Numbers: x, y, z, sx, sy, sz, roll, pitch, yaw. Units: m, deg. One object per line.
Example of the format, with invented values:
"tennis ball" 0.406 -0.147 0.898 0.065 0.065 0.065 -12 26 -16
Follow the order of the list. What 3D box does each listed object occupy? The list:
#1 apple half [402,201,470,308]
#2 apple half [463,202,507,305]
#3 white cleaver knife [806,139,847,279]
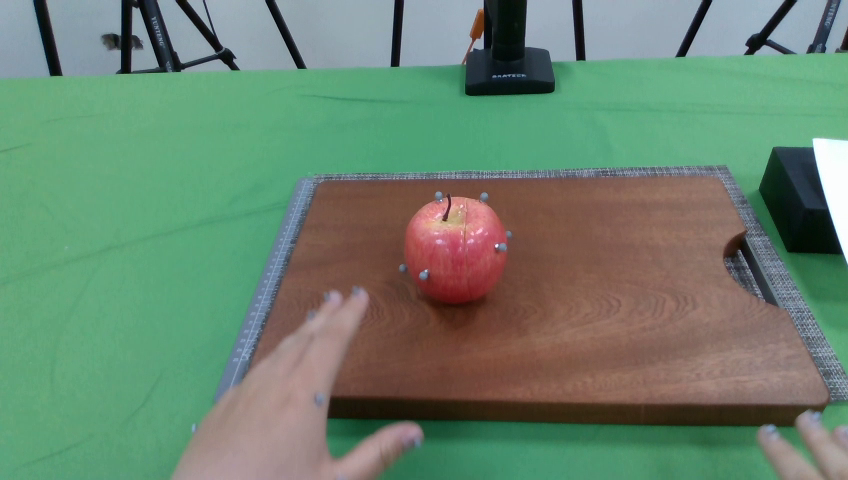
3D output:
"apple half" 0.010 0.012 0.477 0.053 0.075 0.080 -3 42 8
"apple half" 0.048 0.011 0.472 0.033 0.082 0.080 -4 39 8
"white cleaver knife" 0.363 0.021 0.477 0.066 0.022 0.284 0 51 11
